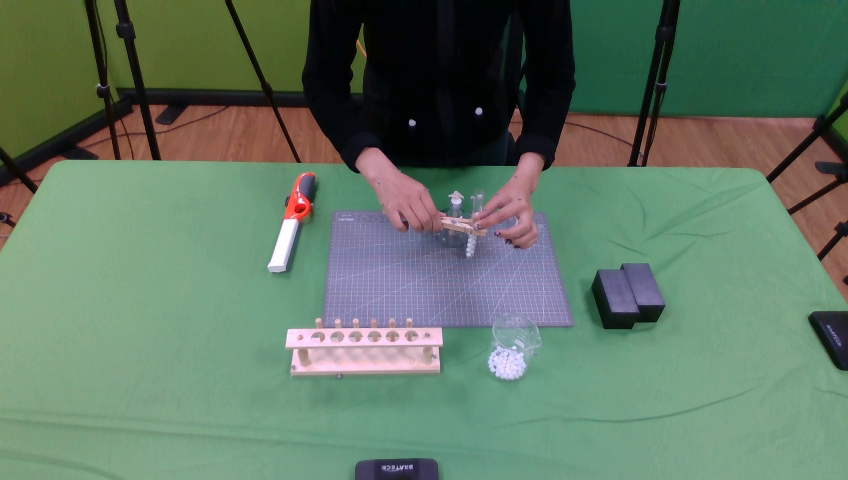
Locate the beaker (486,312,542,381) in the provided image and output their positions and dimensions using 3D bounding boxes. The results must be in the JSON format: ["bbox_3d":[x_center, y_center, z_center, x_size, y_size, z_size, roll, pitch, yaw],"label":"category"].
[{"bbox_3d":[0.144,0.177,0.985,0.084,0.101,0.074,22,49,16],"label":"beaker"}]

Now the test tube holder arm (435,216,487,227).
[{"bbox_3d":[0.061,-0.028,1.013,0.088,0.015,0.010,5,42,-2],"label":"test tube holder arm"}]

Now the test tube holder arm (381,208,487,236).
[{"bbox_3d":[0.016,-0.031,1.010,0.178,0.015,0.013,10,42,3],"label":"test tube holder arm"}]

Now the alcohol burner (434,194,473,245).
[{"bbox_3d":[0.059,-0.046,1.179,0.078,0.120,0.077,1,48,-1],"label":"alcohol burner"}]

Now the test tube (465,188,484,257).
[{"bbox_3d":[0.083,-0.026,1.007,0.017,0.151,0.017,2,45,-2],"label":"test tube"}]

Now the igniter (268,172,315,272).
[{"bbox_3d":[-0.264,-0.045,1.219,0.057,0.025,0.275,-2,46,8],"label":"igniter"}]

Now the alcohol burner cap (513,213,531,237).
[{"bbox_3d":[0.200,-0.034,1.227,0.034,0.048,0.033,1,46,-1],"label":"alcohol burner cap"}]

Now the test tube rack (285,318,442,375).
[{"bbox_3d":[-0.095,0.168,0.986,0.242,0.085,0.066,0,46,-4],"label":"test tube rack"}]
